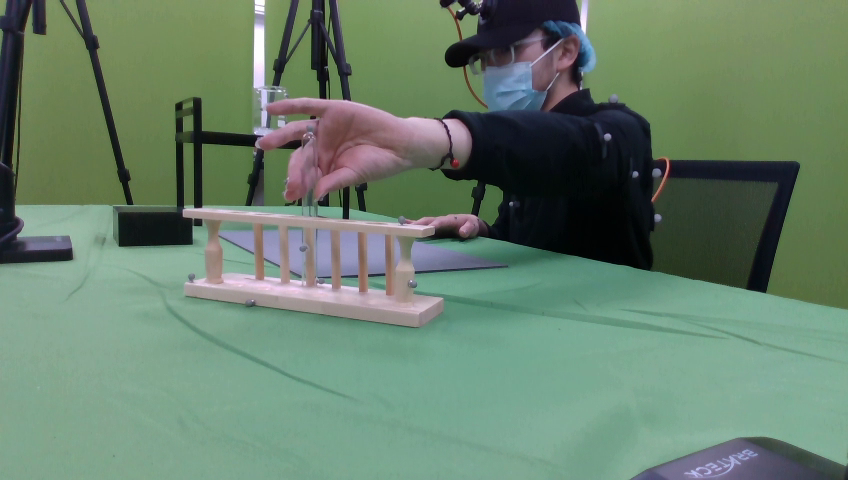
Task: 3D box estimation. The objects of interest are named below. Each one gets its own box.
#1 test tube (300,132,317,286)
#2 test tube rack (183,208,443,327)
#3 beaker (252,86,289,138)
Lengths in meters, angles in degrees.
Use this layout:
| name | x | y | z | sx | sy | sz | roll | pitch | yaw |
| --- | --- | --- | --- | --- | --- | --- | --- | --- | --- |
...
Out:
| name | x | y | z | sx | sy | sz | roll | pitch | yaw |
| --- | --- | --- | --- | --- | --- | --- | --- | --- | --- |
| test tube | -0.113 | -0.029 | 0.588 | 0.017 | 0.150 | 0.017 | 1 | 6 | 0 |
| test tube rack | -0.106 | 0.019 | 0.569 | 0.241 | 0.085 | 0.067 | 5 | 8 | 20 |
| beaker | -0.319 | -0.263 | 1.250 | 0.074 | 0.100 | 0.084 | 5 | 8 | 21 |
